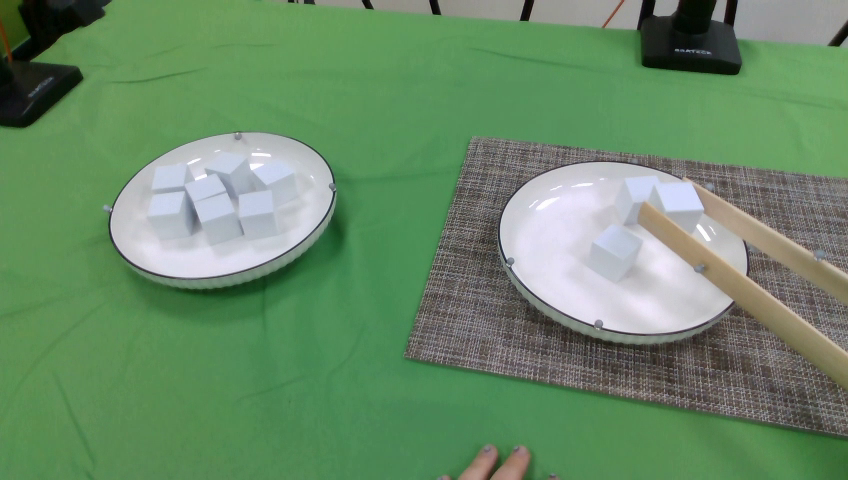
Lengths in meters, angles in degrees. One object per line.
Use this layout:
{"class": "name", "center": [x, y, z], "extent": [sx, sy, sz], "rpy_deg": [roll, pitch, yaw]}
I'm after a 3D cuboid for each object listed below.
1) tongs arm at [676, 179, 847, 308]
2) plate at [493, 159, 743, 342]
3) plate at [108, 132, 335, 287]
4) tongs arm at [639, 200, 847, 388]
{"class": "tongs arm", "center": [0.306, 0.072, 0.384], "extent": [0.051, 0.027, 0.380], "rpy_deg": [-31, 51, -21]}
{"class": "plate", "center": [0.164, 0.007, 0.533], "extent": [0.208, 0.039, 0.205], "rpy_deg": [-1, 46, 1]}
{"class": "plate", "center": [-0.189, -0.029, 0.585], "extent": [0.209, 0.038, 0.207], "rpy_deg": [-1, 46, 1]}
{"class": "tongs arm", "center": [0.282, 0.085, 0.376], "extent": [0.028, 0.028, 0.383], "rpy_deg": [-26, 49, -22]}
